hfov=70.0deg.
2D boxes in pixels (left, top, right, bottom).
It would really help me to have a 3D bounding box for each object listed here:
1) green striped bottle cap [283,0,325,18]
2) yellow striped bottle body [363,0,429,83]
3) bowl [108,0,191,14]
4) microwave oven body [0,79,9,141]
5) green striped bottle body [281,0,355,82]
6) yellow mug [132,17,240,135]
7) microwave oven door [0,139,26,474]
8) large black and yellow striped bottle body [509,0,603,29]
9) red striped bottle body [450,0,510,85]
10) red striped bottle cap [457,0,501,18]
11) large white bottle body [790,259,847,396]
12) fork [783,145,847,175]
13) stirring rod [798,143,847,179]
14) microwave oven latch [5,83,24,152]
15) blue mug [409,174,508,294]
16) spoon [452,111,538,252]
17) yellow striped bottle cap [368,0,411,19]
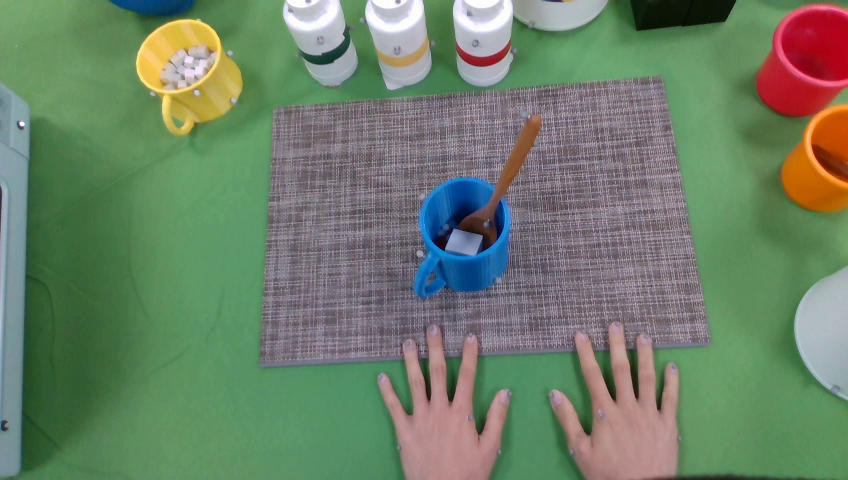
[{"bbox_3d":[-0.126,-0.255,0.631,0.044,0.020,0.044,-1,71,3],"label":"green striped bottle cap"},{"bbox_3d":[-0.031,-0.234,0.669,0.063,0.121,0.062,-2,70,6],"label":"yellow striped bottle body"},{"bbox_3d":[-0.338,-0.339,0.757,0.151,0.077,0.150,-1,71,4],"label":"bowl"},{"bbox_3d":[-0.607,0.023,0.560,0.326,0.262,0.438,-12,71,1],"label":"microwave oven body"},{"bbox_3d":[-0.119,-0.237,0.680,0.063,0.120,0.063,-2,71,5],"label":"green striped bottle body"},{"bbox_3d":[-0.279,-0.185,0.705,0.100,0.064,0.130,6,72,7],"label":"yellow mug"},{"bbox_3d":[-0.457,0.029,0.538,0.039,0.245,0.353,-13,70,2],"label":"microwave oven door"},{"bbox_3d":[0.146,-0.336,0.654,0.130,0.185,0.130,-2,71,5],"label":"large black and yellow striped bottle body"},{"bbox_3d":[0.062,-0.229,0.659,0.063,0.120,0.062,-3,69,8],"label":"red striped bottle body"},{"bbox_3d":[0.056,-0.247,0.610,0.044,0.018,0.044,-1,69,2],"label":"red striped bottle cap"},{"bbox_3d":[0.405,0.060,0.492,0.130,0.186,0.129,-2,71,5],"label":"large white bottle body"},{"bbox_3d":[0.426,-0.060,0.551,0.028,0.019,0.205,-41,28,-8],"label":"fork"},{"bbox_3d":[0.396,-0.060,0.561,0.014,0.006,0.174,-1,28,2],"label":"stirring rod"},{"bbox_3d":[-0.487,-0.140,0.706,0.030,0.030,0.078,-11,71,1],"label":"microwave oven latch"},{"bbox_3d":[0.028,0.007,0.586,0.082,0.106,0.116,40,79,17],"label":"blue mug"},{"bbox_3d":[0.064,-0.044,0.540,0.041,0.195,0.021,30,59,4],"label":"spoon"},{"bbox_3d":[-0.036,-0.251,0.621,0.044,0.019,0.044,-2,72,5],"label":"yellow striped bottle cap"}]
